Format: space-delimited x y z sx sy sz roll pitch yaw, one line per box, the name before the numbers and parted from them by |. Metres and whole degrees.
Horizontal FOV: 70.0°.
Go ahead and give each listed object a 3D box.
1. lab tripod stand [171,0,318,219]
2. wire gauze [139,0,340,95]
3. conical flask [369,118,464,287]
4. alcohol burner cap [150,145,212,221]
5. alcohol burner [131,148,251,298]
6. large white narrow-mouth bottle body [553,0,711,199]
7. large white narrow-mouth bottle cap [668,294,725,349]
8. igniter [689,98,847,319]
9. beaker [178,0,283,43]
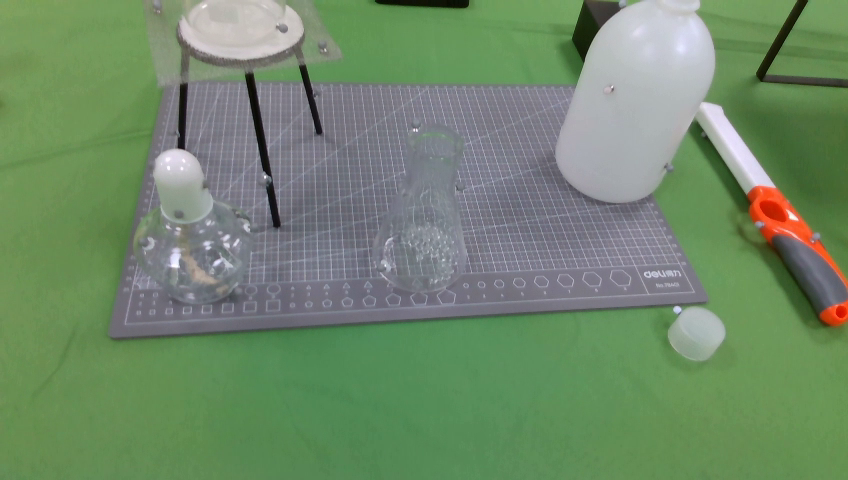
lab tripod stand | -0.138 -0.111 0.482 0.149 0.132 0.147 6 49 -6
wire gauze | -0.135 -0.155 0.434 0.122 0.011 0.124 -14 56 -18
conical flask | 0.000 -0.028 0.437 0.075 0.123 0.074 4 48 -4
alcohol burner cap | -0.154 -0.038 0.380 0.034 0.048 0.033 4 54 -5
alcohol burner | -0.158 -0.015 0.408 0.078 0.120 0.077 6 47 -6
large white narrow-mouth bottle body | 0.178 -0.133 0.508 0.102 0.196 0.101 4 49 -4
large white narrow-mouth bottle cap | 0.208 0.062 0.462 0.038 0.024 0.037 4 49 -4
igniter | 0.314 -0.042 0.564 0.057 0.025 0.273 6 48 -17
beaker | -0.133 -0.190 0.398 0.084 0.101 0.073 -7 52 -14
